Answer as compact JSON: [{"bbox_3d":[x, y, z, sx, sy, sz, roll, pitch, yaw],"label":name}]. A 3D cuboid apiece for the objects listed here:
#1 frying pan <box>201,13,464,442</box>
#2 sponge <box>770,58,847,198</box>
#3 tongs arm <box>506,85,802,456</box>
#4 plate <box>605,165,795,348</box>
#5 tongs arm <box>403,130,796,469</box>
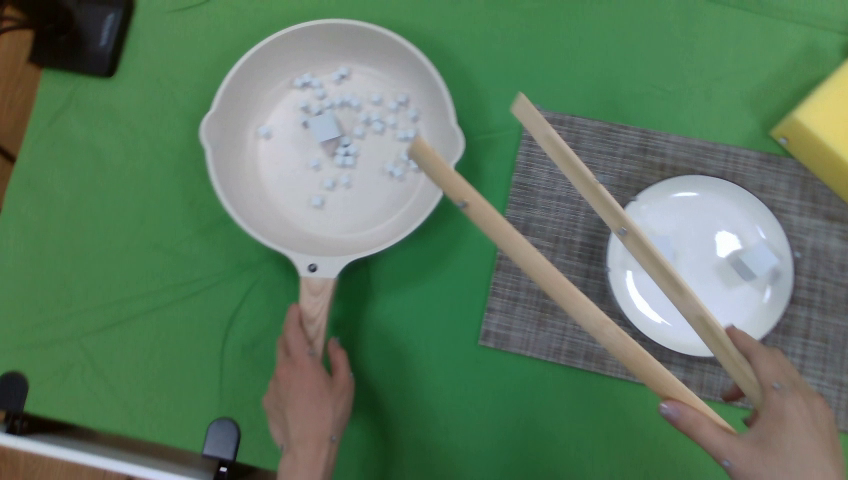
[{"bbox_3d":[-0.115,-0.022,0.696,0.306,0.103,0.485,5,74,5],"label":"frying pan"},{"bbox_3d":[0.527,-0.107,0.693,0.118,0.061,0.206,-43,80,-5],"label":"sponge"},{"bbox_3d":[0.180,0.012,0.524,0.051,0.026,0.382,-26,71,-35],"label":"tongs arm"},{"bbox_3d":[0.310,0.019,0.697,0.207,0.039,0.207,0,82,3],"label":"plate"},{"bbox_3d":[0.126,0.044,0.481,0.386,0.028,0.028,43,48,9],"label":"tongs arm"}]
